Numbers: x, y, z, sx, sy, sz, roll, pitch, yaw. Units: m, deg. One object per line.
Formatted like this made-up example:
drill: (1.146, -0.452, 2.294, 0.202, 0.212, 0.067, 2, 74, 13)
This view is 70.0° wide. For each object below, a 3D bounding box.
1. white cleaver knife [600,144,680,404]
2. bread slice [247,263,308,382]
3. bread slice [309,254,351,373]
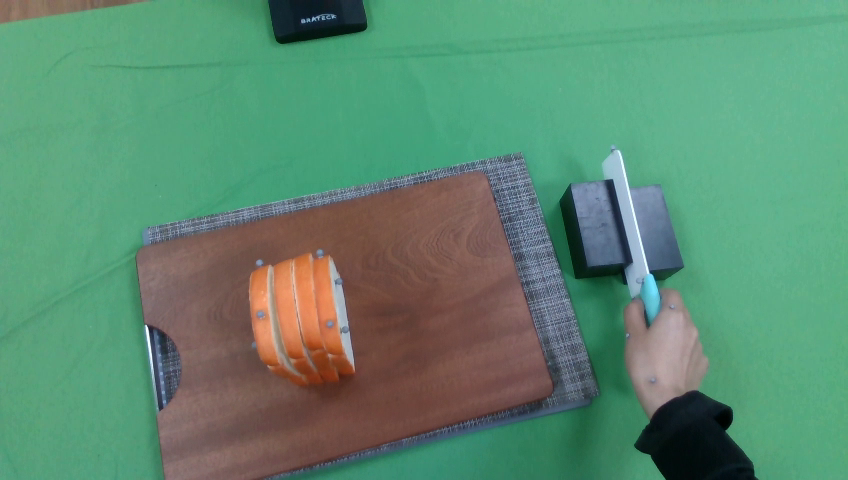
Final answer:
white cleaver knife: (0.230, 0.032, 0.658, 0.021, 0.066, 0.284, -6, 74, -1)
bread slice: (-0.140, 0.078, 0.581, 0.019, 0.132, 0.104, -12, 71, -1)
bread slice: (-0.090, 0.072, 0.583, 0.018, 0.135, 0.106, -11, 76, -7)
